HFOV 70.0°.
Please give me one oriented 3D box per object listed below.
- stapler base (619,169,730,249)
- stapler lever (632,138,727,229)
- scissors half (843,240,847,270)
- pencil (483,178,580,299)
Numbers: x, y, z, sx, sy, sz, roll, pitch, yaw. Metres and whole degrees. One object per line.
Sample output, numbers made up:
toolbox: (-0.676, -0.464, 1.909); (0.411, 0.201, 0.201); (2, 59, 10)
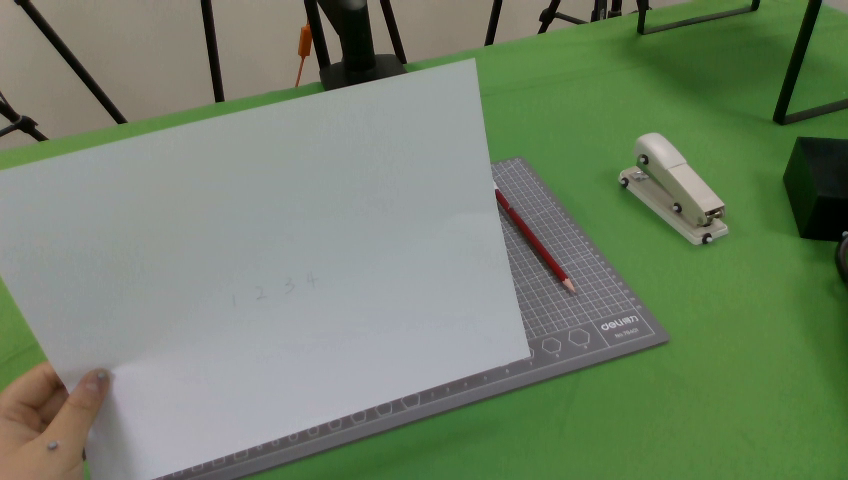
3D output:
stapler base: (0.250, -0.041, 0.612); (0.041, 0.025, 0.129); (-20, 44, -12)
stapler lever: (0.249, -0.059, 0.594); (0.027, 0.040, 0.116); (-20, 44, -12)
scissors half: (0.380, -0.030, 0.519); (0.040, 0.013, 0.174); (14, 66, 7)
pencil: (0.102, -0.007, 0.596); (0.012, 0.012, 0.191); (-18, 43, -13)
